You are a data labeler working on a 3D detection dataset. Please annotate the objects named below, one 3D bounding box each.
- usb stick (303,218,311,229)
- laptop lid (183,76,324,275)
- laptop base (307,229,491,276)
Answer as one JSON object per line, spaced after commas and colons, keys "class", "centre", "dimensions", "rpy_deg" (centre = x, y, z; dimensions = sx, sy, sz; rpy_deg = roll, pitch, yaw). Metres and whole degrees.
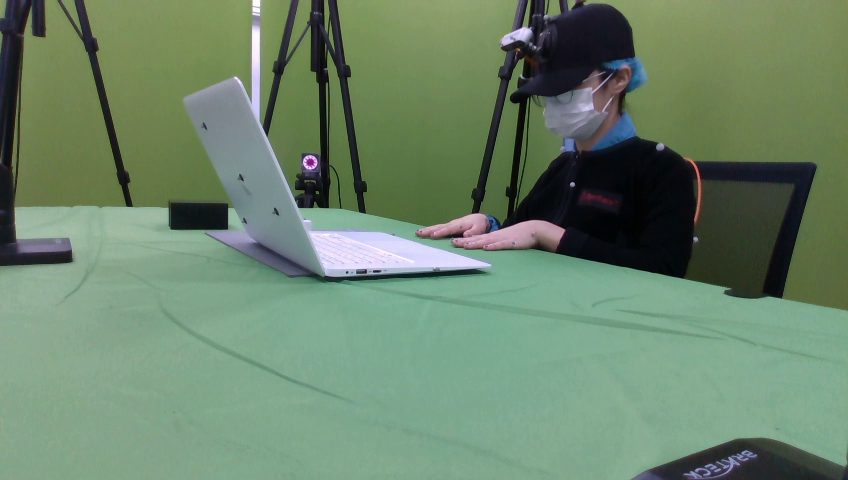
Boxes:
{"class": "usb stick", "centre": [-0.235, -0.025, 1.102], "dimensions": [0.021, 0.027, 0.059], "rpy_deg": [9, 13, 37]}
{"class": "laptop lid", "centre": [-0.237, -0.085, 0.791], "dimensions": [0.013, 0.242, 0.355], "rpy_deg": [-29, 22, -23]}
{"class": "laptop base", "centre": [-0.094, 0.015, 0.888], "dimensions": [0.237, 0.023, 0.352], "rpy_deg": [2, 7, -30]}
